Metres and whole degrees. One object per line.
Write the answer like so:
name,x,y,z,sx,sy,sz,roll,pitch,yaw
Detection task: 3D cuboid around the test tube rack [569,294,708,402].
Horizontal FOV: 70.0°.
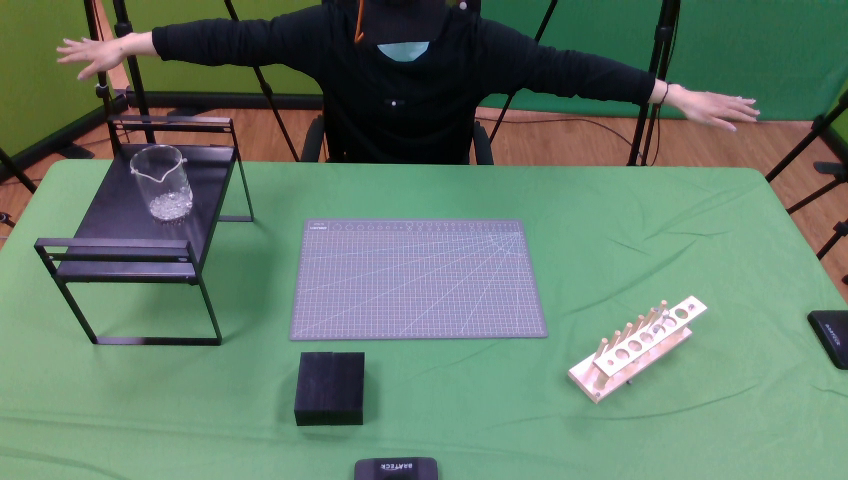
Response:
test tube rack,0.360,0.167,1.015,0.242,0.085,0.066,-25,52,-25

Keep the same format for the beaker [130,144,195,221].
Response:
beaker,-0.403,-0.085,0.944,0.074,0.101,0.083,-15,50,-17

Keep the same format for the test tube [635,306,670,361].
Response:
test tube,0.358,0.151,0.960,0.017,0.151,0.017,1,51,-1
